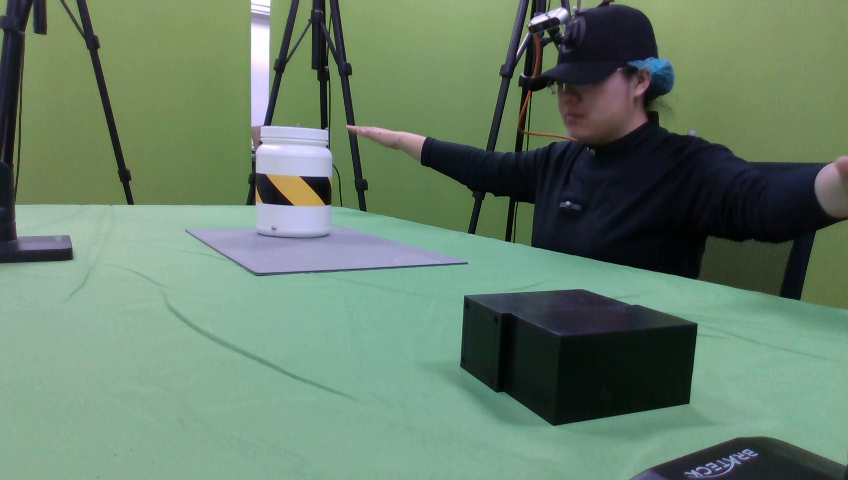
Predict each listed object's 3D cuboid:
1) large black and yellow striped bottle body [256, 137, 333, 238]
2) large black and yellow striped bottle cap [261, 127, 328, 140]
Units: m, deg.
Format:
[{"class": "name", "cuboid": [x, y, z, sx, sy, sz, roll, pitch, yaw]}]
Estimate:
[{"class": "large black and yellow striped bottle body", "cuboid": [-0.228, -0.102, 1.063, 0.131, 0.184, 0.130, 3, 8, 0]}, {"class": "large black and yellow striped bottle cap", "cuboid": [-0.224, -0.184, 1.051, 0.115, 0.019, 0.115, 2, 7, 0]}]
